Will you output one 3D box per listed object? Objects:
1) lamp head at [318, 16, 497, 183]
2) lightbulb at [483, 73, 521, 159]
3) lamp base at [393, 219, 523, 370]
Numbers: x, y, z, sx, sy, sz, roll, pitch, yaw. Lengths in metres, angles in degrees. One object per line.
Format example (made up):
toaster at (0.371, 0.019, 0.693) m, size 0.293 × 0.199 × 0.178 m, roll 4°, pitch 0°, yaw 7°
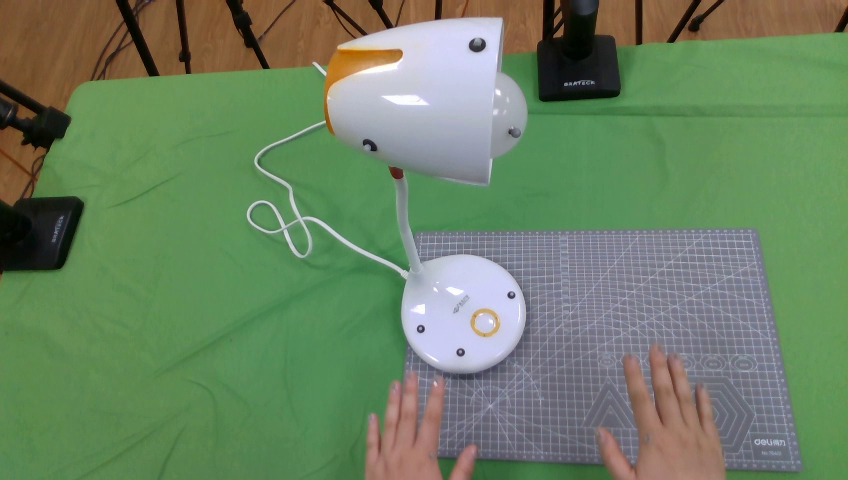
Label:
lamp head at (-0.010, -0.097, 0.422) m, size 0.122 × 0.113 × 0.111 m, roll 3°, pitch 64°, yaw 11°
lightbulb at (0.012, -0.084, 0.415) m, size 0.107 × 0.060 × 0.059 m, roll 1°, pitch 64°, yaw 11°
lamp base at (0.023, 0.049, 0.711) m, size 0.178 × 0.182 × 0.160 m, roll 23°, pitch 69°, yaw 22°
